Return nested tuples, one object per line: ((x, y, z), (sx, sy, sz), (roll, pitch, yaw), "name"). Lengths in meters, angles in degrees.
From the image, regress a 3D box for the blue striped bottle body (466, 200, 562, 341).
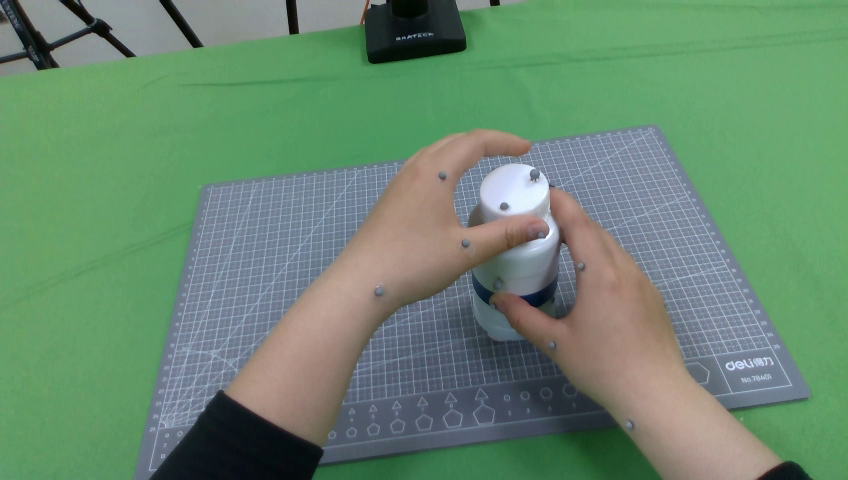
((0.062, 0.012, 0.419), (0.063, 0.122, 0.062), (-4, 47, 5), "blue striped bottle body")

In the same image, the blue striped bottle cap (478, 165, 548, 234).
((0.055, -0.026, 0.378), (0.044, 0.021, 0.044), (-4, 51, 6), "blue striped bottle cap")
